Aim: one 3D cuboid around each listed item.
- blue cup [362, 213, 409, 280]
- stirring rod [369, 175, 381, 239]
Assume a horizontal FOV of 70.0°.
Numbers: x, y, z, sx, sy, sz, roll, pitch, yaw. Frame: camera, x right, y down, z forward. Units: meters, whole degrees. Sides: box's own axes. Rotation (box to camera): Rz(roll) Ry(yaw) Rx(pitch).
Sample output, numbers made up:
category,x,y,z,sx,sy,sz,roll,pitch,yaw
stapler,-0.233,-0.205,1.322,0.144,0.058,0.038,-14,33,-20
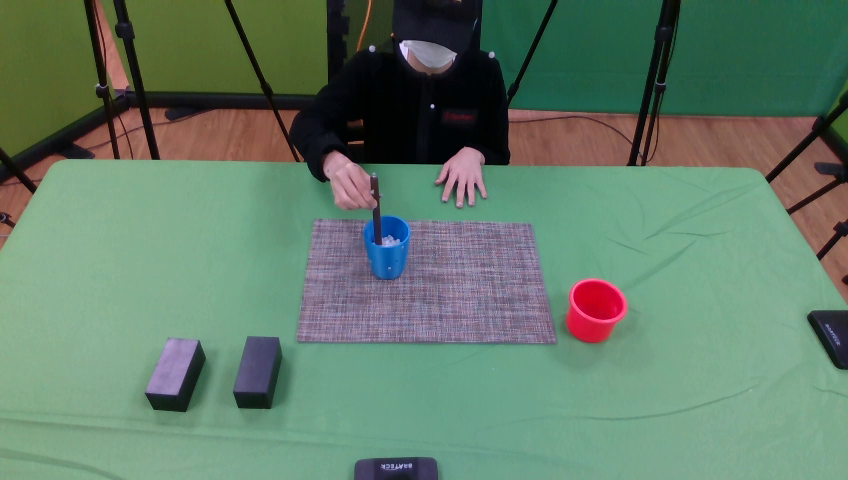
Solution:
category,x,y,z,sx,sy,sz,roll,pitch,yaw
blue cup,-0.070,0.020,1.114,0.093,0.101,0.092,1,45,-1
stirring rod,-0.084,-0.049,1.055,0.014,0.177,0.006,10,50,7
